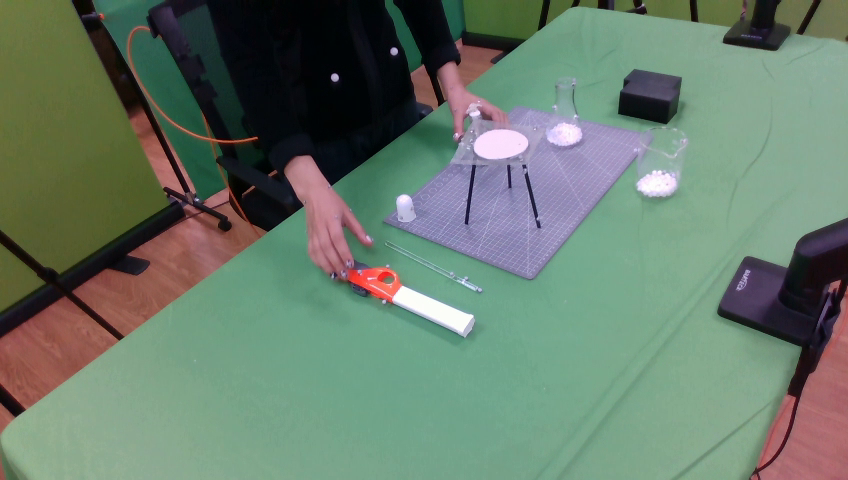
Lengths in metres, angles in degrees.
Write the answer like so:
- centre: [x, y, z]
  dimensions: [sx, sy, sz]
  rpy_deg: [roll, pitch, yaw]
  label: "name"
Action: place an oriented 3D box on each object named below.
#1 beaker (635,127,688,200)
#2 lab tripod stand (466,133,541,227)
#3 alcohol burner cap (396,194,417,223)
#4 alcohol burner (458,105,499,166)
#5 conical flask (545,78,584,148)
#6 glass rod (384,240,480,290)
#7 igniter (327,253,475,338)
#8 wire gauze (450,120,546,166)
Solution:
- centre: [0.388, -0.122, 0.994]
  dimensions: [0.074, 0.101, 0.083]
  rpy_deg: [-8, 40, 2]
  label: "beaker"
- centre: [0.129, -0.099, 0.985]
  dimensions: [0.148, 0.132, 0.147]
  rpy_deg: [-7, 38, 6]
  label: "lab tripod stand"
- centre: [-0.032, -0.056, 1.036]
  dimensions: [0.034, 0.048, 0.033]
  rpy_deg: [-6, 41, 6]
  label: "alcohol burner cap"
- centre: [0.099, -0.199, 1.125]
  dimensions: [0.078, 0.120, 0.077]
  rpy_deg: [-6, 42, 6]
  label: "alcohol burner"
- centre: [0.264, -0.241, 1.135]
  dimensions: [0.075, 0.122, 0.075]
  rpy_deg: [-6, 40, 5]
  label: "conical flask"
- centre: [0.009, 0.037, 0.949]
  dimensions: [0.198, 0.008, 0.008]
  rpy_deg: [26, 52, 34]
  label: "glass rod"
- centre: [-0.045, 0.077, 0.898]
  dimensions: [0.274, 0.025, 0.057]
  rpy_deg: [22, 60, 32]
  label: "igniter"
- centre: [0.117, -0.151, 0.943]
  dimensions: [0.121, 0.011, 0.125]
  rpy_deg: [9, 43, 21]
  label: "wire gauze"
